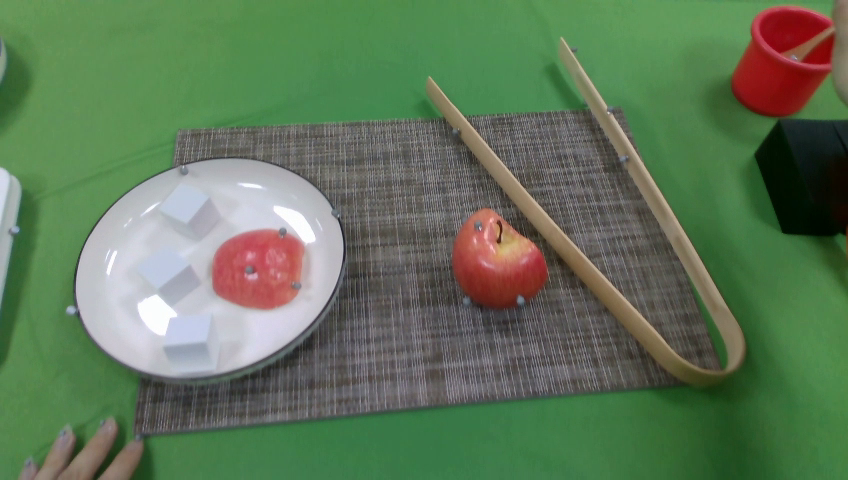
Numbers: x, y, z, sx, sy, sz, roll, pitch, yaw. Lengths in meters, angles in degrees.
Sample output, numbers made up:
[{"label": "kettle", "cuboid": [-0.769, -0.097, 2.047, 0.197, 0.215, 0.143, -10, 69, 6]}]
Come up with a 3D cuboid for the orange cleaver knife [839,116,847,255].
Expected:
[{"label": "orange cleaver knife", "cuboid": [0.383, -0.012, 0.515, 0.012, 0.077, 0.211, 1, 87, -6]}]

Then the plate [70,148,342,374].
[{"label": "plate", "cuboid": [-0.170, 0.014, 0.495, 0.209, 0.038, 0.207, 1, 57, -2]}]

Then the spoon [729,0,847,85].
[{"label": "spoon", "cuboid": [0.406, -0.218, 0.611, 0.194, 0.022, 0.041, -35, 49, 29]}]

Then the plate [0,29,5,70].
[{"label": "plate", "cuboid": [-0.522, -0.166, 0.597, 0.208, 0.039, 0.205, 1, 58, -2]}]

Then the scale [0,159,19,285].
[{"label": "scale", "cuboid": [-0.418, 0.022, 0.486, 0.149, 0.032, 0.199, -9, 59, -8]}]

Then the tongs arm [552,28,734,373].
[{"label": "tongs arm", "cuboid": [0.181, -0.062, 0.564, 0.051, 0.027, 0.381, -14, 60, -12]}]

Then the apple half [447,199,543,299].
[{"label": "apple half", "cuboid": [0.048, 0.015, 0.484, 0.053, 0.075, 0.080, -40, 70, -20]}]

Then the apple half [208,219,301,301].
[{"label": "apple half", "cuboid": [-0.140, 0.009, 0.493, 0.081, 0.033, 0.080, 3, 57, -5]}]

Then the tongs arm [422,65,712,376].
[{"label": "tongs arm", "cuboid": [0.104, -0.034, 0.545, 0.028, 0.028, 0.384, -25, 62, -22]}]
